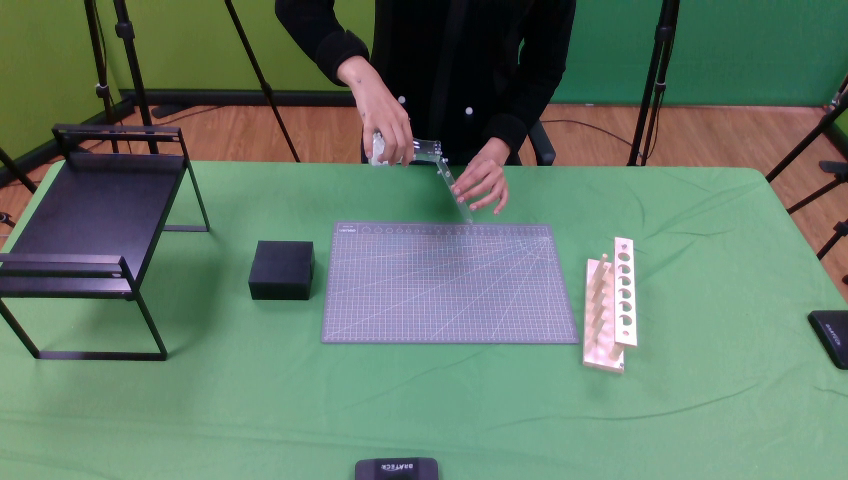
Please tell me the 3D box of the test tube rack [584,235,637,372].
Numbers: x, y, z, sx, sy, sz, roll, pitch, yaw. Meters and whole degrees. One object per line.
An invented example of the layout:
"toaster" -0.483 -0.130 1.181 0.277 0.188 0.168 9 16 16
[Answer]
"test tube rack" 0.329 0.103 1.073 0.067 0.085 0.241 10 47 7

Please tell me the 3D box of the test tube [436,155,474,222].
"test tube" 0.057 -0.090 1.094 0.017 0.151 0.017 -19 36 15

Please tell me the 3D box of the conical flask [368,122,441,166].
"conical flask" -0.034 -0.159 1.034 0.122 0.075 0.075 4 46 -7
